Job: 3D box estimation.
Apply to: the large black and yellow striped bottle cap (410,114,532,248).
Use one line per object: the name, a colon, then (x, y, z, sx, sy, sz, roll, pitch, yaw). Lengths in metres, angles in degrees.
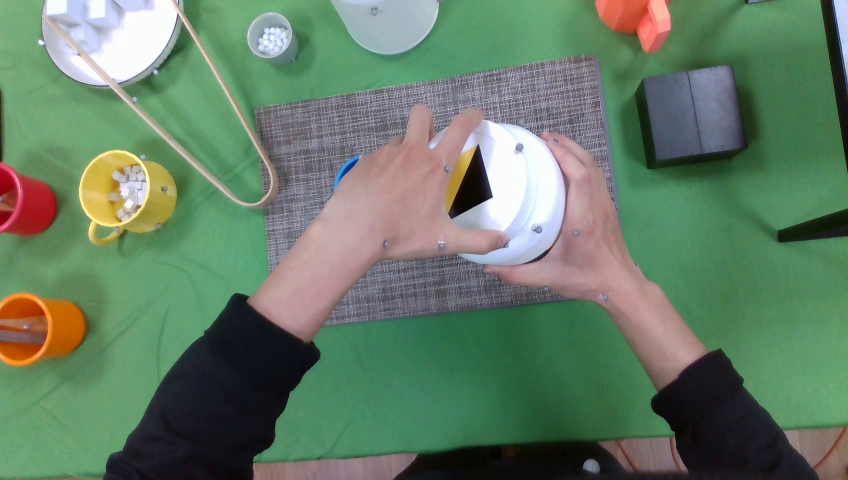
large black and yellow striped bottle cap: (0.037, -0.050, 0.520, 0.114, 0.019, 0.114, -5, 81, 35)

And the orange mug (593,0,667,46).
orange mug: (0.254, -0.299, 0.716, 0.083, 0.101, 0.125, -17, 79, 6)

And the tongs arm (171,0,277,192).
tongs arm: (-0.291, -0.236, 0.798, 0.028, 0.028, 0.387, -31, 89, -4)

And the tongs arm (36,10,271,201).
tongs arm: (-0.356, -0.182, 0.799, 0.384, 0.026, 0.051, 45, 88, 2)

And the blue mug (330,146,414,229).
blue mug: (-0.043, -0.055, 0.728, 0.116, 0.106, 0.082, 19, 87, 9)

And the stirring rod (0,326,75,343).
stirring rod: (-0.541, 0.115, 0.765, 0.006, 0.177, 0.014, -23, 61, 48)

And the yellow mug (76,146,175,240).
yellow mug: (-0.401, -0.055, 0.800, 0.099, 0.064, 0.131, 32, 91, 9)

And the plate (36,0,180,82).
plate: (-0.432, -0.317, 0.840, 0.207, 0.039, 0.207, -1, 86, 8)

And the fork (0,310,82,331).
fork: (-0.551, 0.097, 0.764, 0.209, 0.018, 0.028, 10, 84, -35)

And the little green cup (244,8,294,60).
little green cup: (-0.203, -0.271, 0.805, 0.061, 0.039, 0.061, -1, 86, 8)

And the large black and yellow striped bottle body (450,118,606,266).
large black and yellow striped bottle body: (0.086, -0.043, 0.589, 0.130, 0.185, 0.130, -3, 84, 35)

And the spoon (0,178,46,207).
spoon: (-0.599, -0.042, 0.786, 0.194, 0.022, 0.041, -25, 77, -40)

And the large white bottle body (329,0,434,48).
large white bottle body: (-0.062, -0.324, 0.717, 0.130, 0.185, 0.130, -1, 84, 8)
